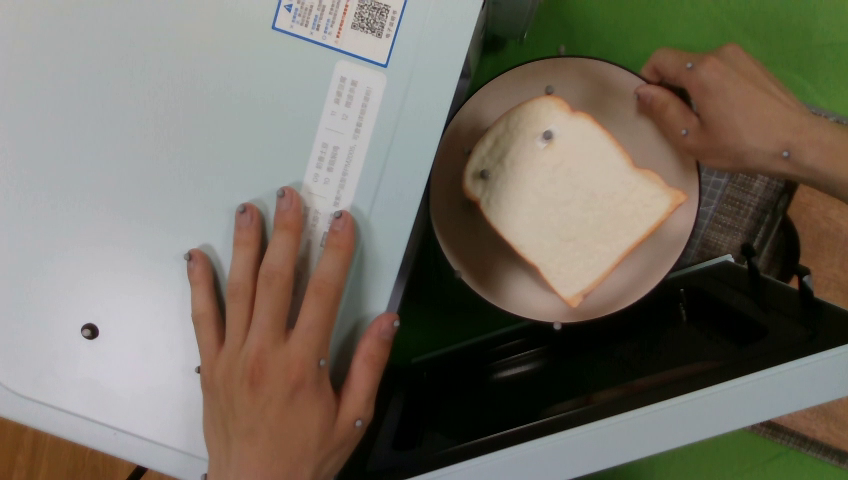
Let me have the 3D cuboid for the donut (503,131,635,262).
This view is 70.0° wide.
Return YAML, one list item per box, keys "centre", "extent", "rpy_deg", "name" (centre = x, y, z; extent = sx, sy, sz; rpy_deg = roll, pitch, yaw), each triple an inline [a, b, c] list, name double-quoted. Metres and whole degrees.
- centre: [0.109, -0.033, 0.460]
  extent: [0.099, 0.048, 0.099]
  rpy_deg: [0, 93, -1]
  name: "donut"

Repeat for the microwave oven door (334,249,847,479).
- centre: [0.112, 0.101, 0.469]
  extent: [0.356, 0.243, 0.039]
  rpy_deg: [-20, 96, 7]
  name: "microwave oven door"

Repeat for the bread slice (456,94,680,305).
- centre: [0.090, -0.034, 0.429]
  extent: [0.134, 0.018, 0.107]
  rpy_deg: [41, 100, 6]
  name: "bread slice"

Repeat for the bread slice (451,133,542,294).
- centre: [0.084, -0.035, 0.488]
  extent: [0.105, 0.019, 0.131]
  rpy_deg: [-37, 92, 6]
  name: "bread slice"

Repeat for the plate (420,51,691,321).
- centre: [0.100, -0.041, 0.485]
  extent: [0.207, 0.039, 0.208]
  rpy_deg: [1, 96, 6]
  name: "plate"

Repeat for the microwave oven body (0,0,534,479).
- centre: [-0.119, -0.087, 0.462]
  extent: [0.326, 0.259, 0.442]
  rpy_deg: [18, 100, 1]
  name: "microwave oven body"

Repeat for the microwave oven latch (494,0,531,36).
- centre: [0.084, -0.221, 0.523]
  extent: [0.030, 0.029, 0.079]
  rpy_deg: [19, 100, 1]
  name: "microwave oven latch"
